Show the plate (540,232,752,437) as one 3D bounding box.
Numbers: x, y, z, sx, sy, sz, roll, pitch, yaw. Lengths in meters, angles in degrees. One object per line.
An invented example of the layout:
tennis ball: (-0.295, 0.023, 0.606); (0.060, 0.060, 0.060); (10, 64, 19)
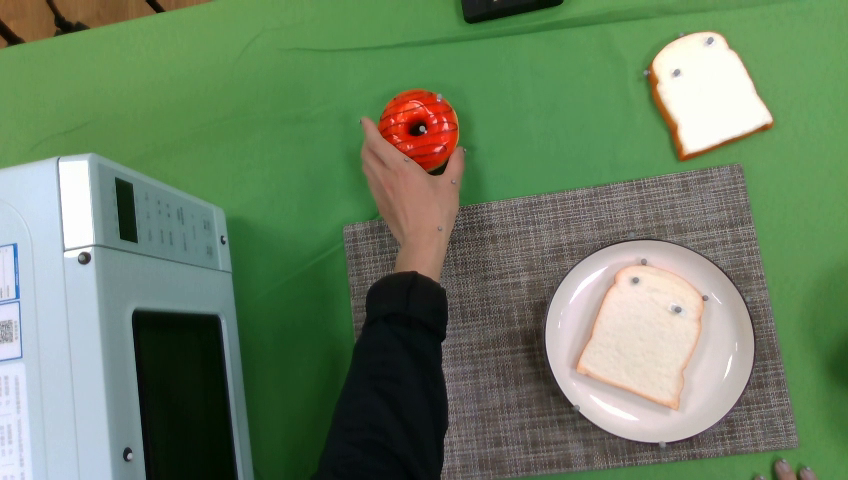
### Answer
plate: (0.227, 0.097, 0.634); (0.207, 0.039, 0.207); (-1, 83, 7)

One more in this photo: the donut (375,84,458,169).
donut: (-0.009, -0.130, 0.695); (0.099, 0.048, 0.098); (-1, 82, 11)

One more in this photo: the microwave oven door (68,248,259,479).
microwave oven door: (-0.225, 0.194, 0.565); (0.039, 0.245, 0.354); (-11, 81, 7)

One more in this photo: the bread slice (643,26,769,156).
bread slice: (0.305, -0.170, 0.671); (0.105, 0.019, 0.131); (-22, 82, 3)

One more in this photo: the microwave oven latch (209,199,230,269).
microwave oven latch: (-0.244, -0.006, 0.695); (0.030, 0.029, 0.079); (-10, 82, 6)

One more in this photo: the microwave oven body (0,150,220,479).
microwave oven body: (-0.374, 0.180, 0.591); (0.326, 0.261, 0.440); (-10, 82, 6)

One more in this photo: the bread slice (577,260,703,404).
bread slice: (0.228, 0.089, 0.635); (0.107, 0.018, 0.134); (17, 85, 9)
